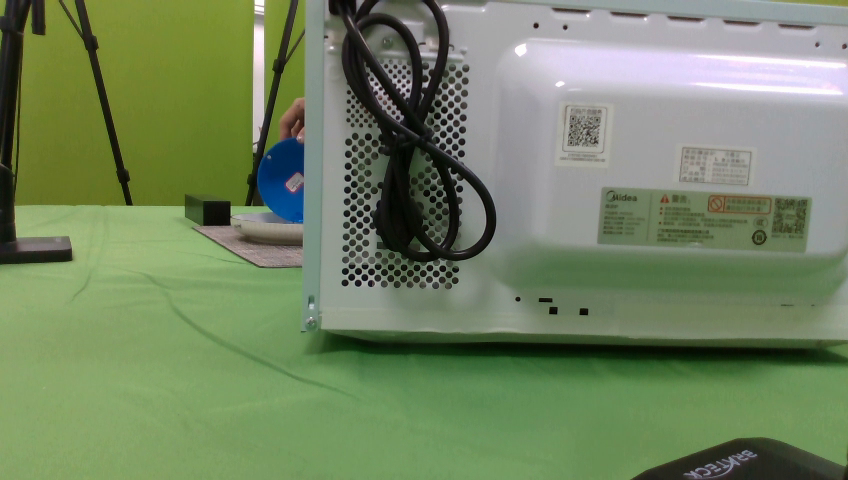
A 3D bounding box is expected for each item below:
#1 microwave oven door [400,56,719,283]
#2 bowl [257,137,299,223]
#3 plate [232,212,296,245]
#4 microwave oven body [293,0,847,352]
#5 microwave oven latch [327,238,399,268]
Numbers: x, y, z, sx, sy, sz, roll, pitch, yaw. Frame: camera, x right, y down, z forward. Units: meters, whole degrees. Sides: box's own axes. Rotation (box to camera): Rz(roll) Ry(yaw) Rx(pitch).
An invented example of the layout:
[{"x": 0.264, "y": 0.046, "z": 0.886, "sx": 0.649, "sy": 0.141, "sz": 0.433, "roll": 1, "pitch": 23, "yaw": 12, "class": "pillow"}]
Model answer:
[{"x": 0.155, "y": -0.077, "z": 0.698, "sx": 0.356, "sy": 0.243, "sz": 0.039, "roll": 2, "pitch": 8, "yaw": -5, "class": "microwave oven door"}, {"x": -0.225, "y": -0.105, "z": 1.077, "sx": 0.152, "sy": 0.151, "sz": 0.076, "roll": 0, "pitch": 4, "yaw": -22, "class": "bowl"}, {"x": -0.214, "y": -0.020, "z": 1.018, "sx": 0.208, "sy": 0.039, "sz": 0.207, "roll": 2, "pitch": 7, "yaw": 0, "class": "plate"}, {"x": 0.122, "y": -0.055, "z": 0.550, "sx": 0.442, "sy": 0.260, "sz": 0.325, "roll": 3, "pitch": 7, "yaw": -5, "class": "microwave oven body"}, {"x": -0.069, "y": 0.015, "z": 0.694, "sx": 0.079, "sy": 0.029, "sz": 0.030, "roll": 3, "pitch": 7, "yaw": -3, "class": "microwave oven latch"}]
